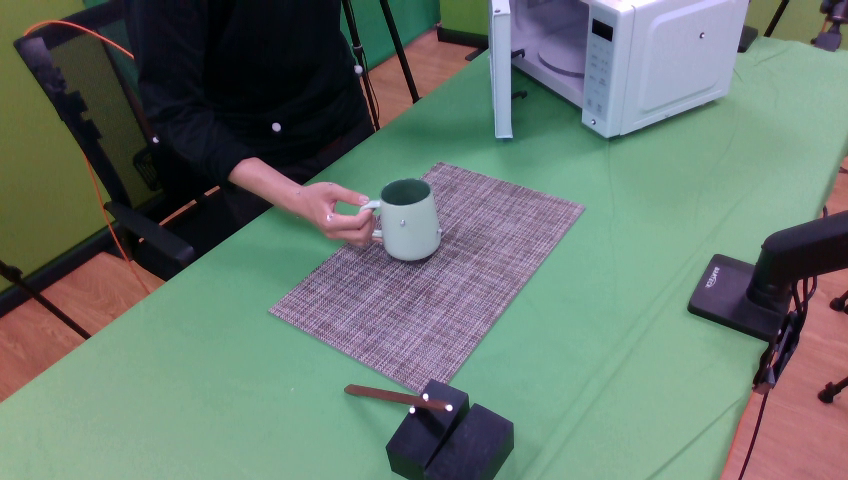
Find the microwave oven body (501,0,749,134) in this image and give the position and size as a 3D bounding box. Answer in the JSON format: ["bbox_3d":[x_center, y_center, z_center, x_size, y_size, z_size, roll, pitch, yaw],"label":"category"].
[{"bbox_3d":[0.382,-0.445,1.246,0.327,0.261,0.437,-22,42,-16],"label":"microwave oven body"}]

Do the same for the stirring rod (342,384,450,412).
[{"bbox_3d":[-0.038,0.186,0.714,0.175,0.006,0.014,-3,22,43],"label":"stirring rod"}]

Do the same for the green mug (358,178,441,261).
[{"bbox_3d":[-0.039,-0.029,0.921,0.125,0.105,0.092,-3,38,6],"label":"green mug"}]

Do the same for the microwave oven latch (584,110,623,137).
[{"bbox_3d":[0.337,-0.222,1.142,0.030,0.029,0.078,-21,42,-14],"label":"microwave oven latch"}]

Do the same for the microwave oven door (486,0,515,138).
[{"bbox_3d":[0.152,-0.404,1.222,0.039,0.245,0.354,-4,41,6],"label":"microwave oven door"}]
